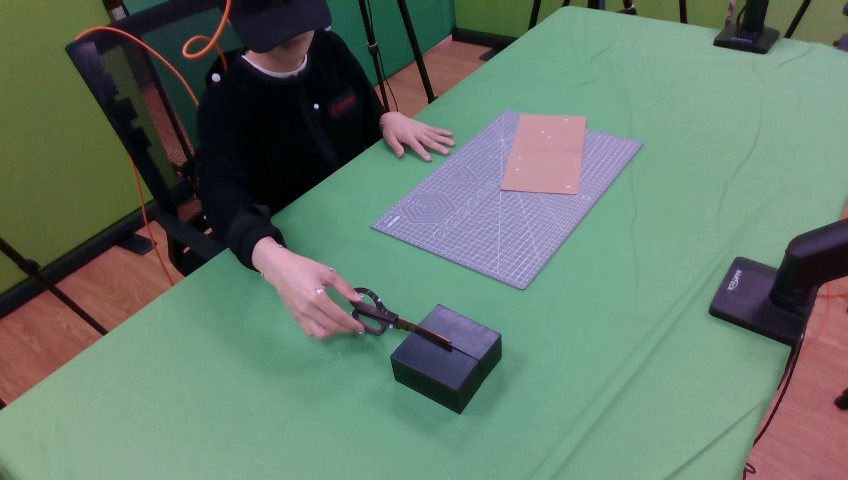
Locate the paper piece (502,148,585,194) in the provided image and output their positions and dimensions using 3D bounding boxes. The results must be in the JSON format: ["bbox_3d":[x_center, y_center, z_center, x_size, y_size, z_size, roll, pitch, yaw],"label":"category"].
[{"bbox_3d":[0.219,-0.128,1.101,0.135,0.009,0.138,2,42,17],"label":"paper piece"}]

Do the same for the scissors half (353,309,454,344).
[{"bbox_3d":[-0.030,0.119,0.806,0.174,0.040,0.013,6,33,40],"label":"scissors half"}]

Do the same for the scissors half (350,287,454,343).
[{"bbox_3d":[-0.032,0.101,0.796,0.174,0.040,0.013,23,38,30],"label":"scissors half"}]

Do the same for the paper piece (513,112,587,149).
[{"bbox_3d":[0.252,-0.215,1.196,0.135,0.004,0.135,6,42,14],"label":"paper piece"}]
